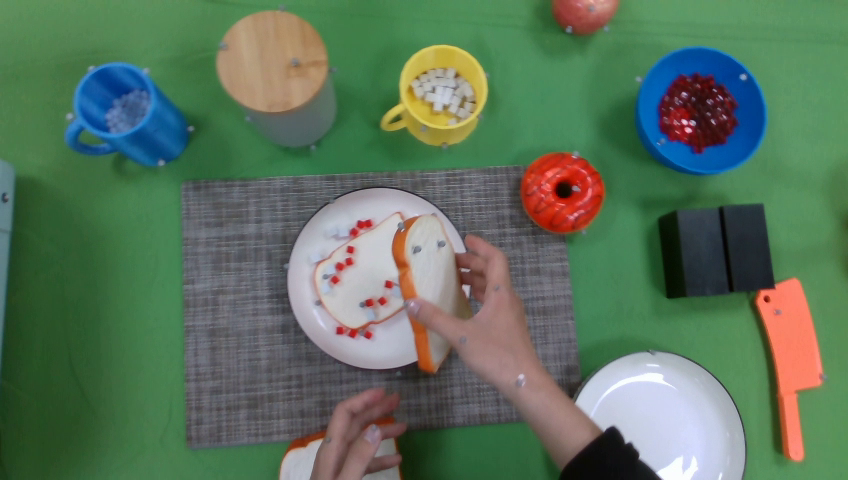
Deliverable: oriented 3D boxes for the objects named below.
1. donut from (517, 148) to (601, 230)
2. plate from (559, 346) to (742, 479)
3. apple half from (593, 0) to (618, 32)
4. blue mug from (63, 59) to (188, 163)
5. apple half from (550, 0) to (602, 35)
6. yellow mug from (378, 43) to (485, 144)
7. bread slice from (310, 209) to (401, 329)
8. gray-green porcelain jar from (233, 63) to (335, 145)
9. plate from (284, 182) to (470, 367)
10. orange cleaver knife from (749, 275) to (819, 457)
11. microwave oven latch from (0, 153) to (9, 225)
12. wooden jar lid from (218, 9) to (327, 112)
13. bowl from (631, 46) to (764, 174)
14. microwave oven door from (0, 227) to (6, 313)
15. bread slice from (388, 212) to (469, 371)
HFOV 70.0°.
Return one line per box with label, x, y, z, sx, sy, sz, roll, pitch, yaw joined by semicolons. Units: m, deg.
donut;0.159;-0.060;0.715;0.099;0.048;0.099;1;83;-4
plate;0.253;0.226;0.689;0.209;0.038;0.208;1;82;-3
apple half;0.205;-0.300;0.741;0.053;0.075;0.080;-36;82;-13
blue mug;-0.333;-0.130;0.665;0.116;0.106;0.082;-29;84;-7
apple half;0.175;-0.276;0.734;0.033;0.081;0.081;-36;85;-12
yellow mug;0.005;-0.164;0.713;0.131;0.064;0.099;-27;85;-6
bread slice;-0.061;0.040;0.689;0.131;0.019;0.104;-31;85;-6
gray-green porcelain jar;-0.155;-0.169;0.672;0.106;0.127;0.105;1;82;-3
plate;-0.052;0.039;0.691;0.208;0.039;0.207;1;82;-4
orange cleaver knife;0.435;0.147;0.722;0.077;0.012;0.210;-2;81;-11
microwave oven latch;-0.475;-0.057;0.661;0.030;0.029;0.079;2;83;-4
wooden jar lid;-0.151;-0.179;0.611;0.108;0.021;0.108;1;80;-3
bowl;0.311;-0.144;0.724;0.151;0.077;0.151;0;83;-3
microwave oven door;-0.470;0.145;0.531;0.039;0.244;0.354;0;82;-3
bread slice;0.004;0.042;0.571;0.018;0.106;0.135;-8;112;26
